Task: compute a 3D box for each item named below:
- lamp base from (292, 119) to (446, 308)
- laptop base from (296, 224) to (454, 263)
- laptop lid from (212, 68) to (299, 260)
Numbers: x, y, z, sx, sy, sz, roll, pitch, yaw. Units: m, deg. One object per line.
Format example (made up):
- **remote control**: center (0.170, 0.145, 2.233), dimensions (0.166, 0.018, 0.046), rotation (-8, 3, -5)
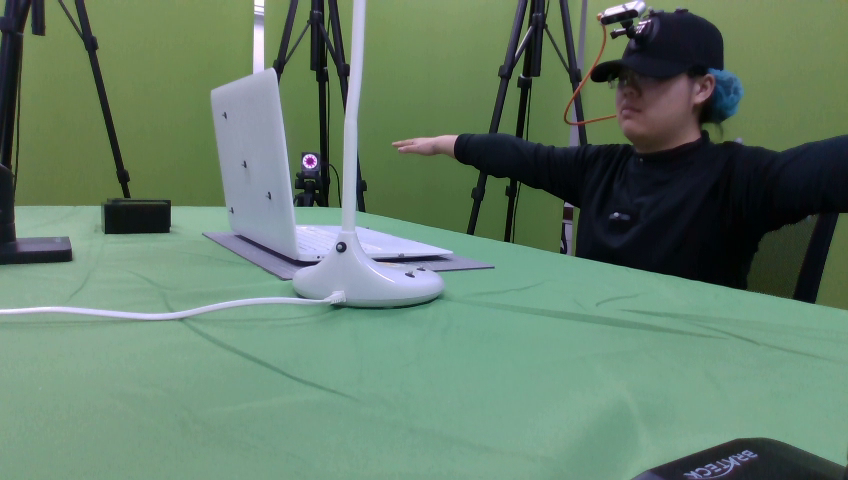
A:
- **lamp base**: center (-0.056, -0.030, 0.616), dimensions (0.160, 0.180, 0.179), rotation (3, 10, 8)
- **laptop base**: center (-0.143, 0.003, 0.957), dimensions (0.237, 0.023, 0.352), rotation (2, 7, -32)
- **laptop lid**: center (-0.254, -0.111, 0.872), dimensions (0.013, 0.241, 0.355), rotation (-11, 14, -30)
